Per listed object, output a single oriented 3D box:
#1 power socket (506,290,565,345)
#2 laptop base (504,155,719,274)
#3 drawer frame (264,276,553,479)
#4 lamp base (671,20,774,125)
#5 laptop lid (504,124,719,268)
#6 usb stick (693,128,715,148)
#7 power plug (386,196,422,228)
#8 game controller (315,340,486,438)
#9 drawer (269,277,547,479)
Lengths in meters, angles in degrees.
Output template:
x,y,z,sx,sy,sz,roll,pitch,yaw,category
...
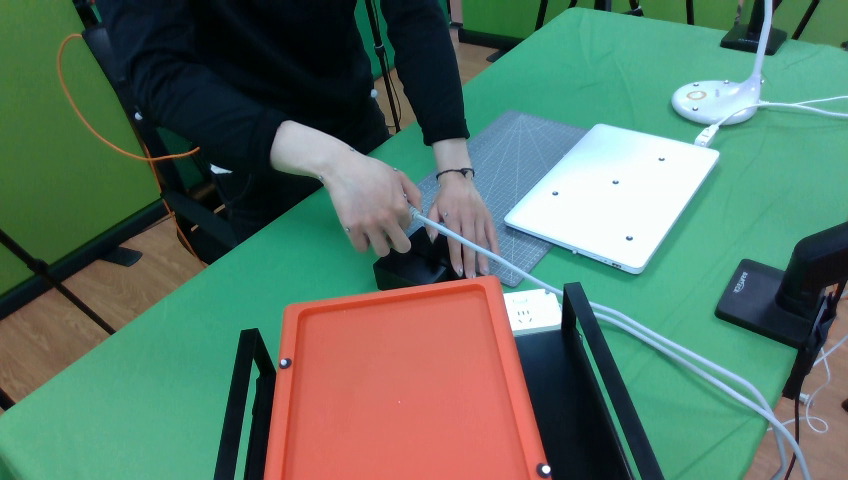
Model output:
x,y,z,sx,sy,sz,roll,pitch,yaw,category
0.081,0.112,0.822,0.227,0.033,0.072,-7,40,0,power socket
0.326,-0.083,1.028,0.233,0.023,0.355,21,48,32,laptop base
-0.016,0.137,0.490,0.202,0.083,0.212,-8,41,-1,drawer frame
0.581,-0.332,1.154,0.179,0.181,0.160,2,42,7,lamp base
0.323,-0.093,1.021,0.240,0.013,0.358,23,49,32,laptop lid
0.502,-0.176,1.092,0.021,0.027,0.059,29,55,28,usb stick
-0.026,-0.027,0.799,0.035,0.053,0.072,-19,56,-4,power plug
-0.021,0.120,0.534,0.155,0.052,0.096,-3,37,0,game controller
-0.018,0.137,0.493,0.195,0.073,0.210,-7,41,-1,drawer
